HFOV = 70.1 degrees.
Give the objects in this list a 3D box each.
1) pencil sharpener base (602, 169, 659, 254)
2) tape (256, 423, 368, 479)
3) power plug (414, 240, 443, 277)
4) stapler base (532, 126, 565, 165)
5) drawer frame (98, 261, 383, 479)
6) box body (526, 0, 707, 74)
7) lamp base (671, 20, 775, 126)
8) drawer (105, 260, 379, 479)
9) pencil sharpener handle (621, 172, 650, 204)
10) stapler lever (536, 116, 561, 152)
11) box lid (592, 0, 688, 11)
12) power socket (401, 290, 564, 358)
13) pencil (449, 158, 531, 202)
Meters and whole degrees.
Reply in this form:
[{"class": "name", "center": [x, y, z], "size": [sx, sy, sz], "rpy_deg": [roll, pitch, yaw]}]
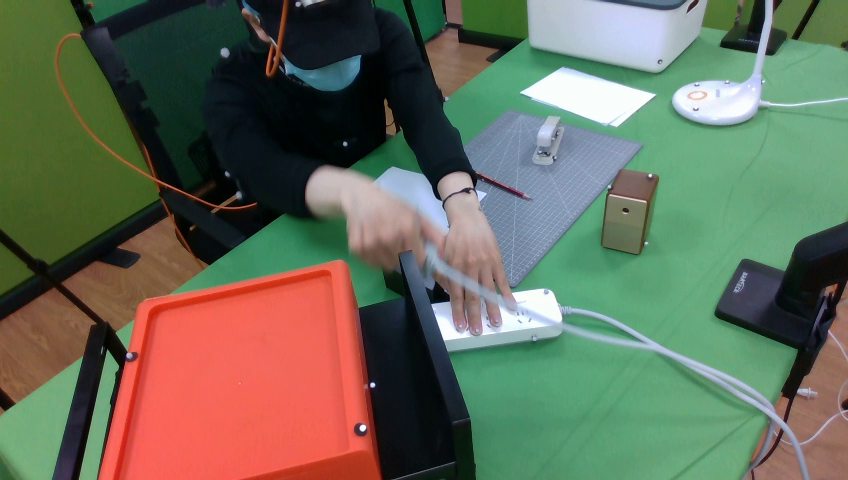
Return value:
[{"class": "pencil sharpener base", "center": [0.312, -0.044, 0.913], "size": [0.061, 0.107, 0.077], "rpy_deg": [14, 45, 24]}, {"class": "tape", "center": [-0.121, 0.262, 0.660], "size": [0.117, 0.053, 0.116], "rpy_deg": [-4, 40, 4]}, {"class": "power plug", "center": [0.005, 0.031, 0.708], "size": [0.035, 0.053, 0.072], "rpy_deg": [-8, 38, 7]}, {"class": "stapler base", "center": [0.238, -0.189, 1.155], "size": [0.041, 0.024, 0.130], "rpy_deg": [10, 42, 18]}, {"class": "drawer frame", "center": [-0.148, 0.129, 0.519], "size": [0.202, 0.083, 0.212], "rpy_deg": [-12, 41, -6]}, {"class": "box body", "center": [0.450, -0.540, 1.430], "size": [0.361, 0.161, 0.255], "rpy_deg": [24, 50, 31]}, {"class": "lamp base", "center": [0.582, -0.331, 1.153], "size": [0.179, 0.181, 0.160], "rpy_deg": [2, 42, 7]}, {"class": "drawer", "center": [-0.150, 0.127, 0.525], "size": [0.195, 0.073, 0.210], "rpy_deg": [-11, 41, -5]}, {"class": "pencil sharpener handle", "center": [0.328, -0.086, 0.940], "size": [0.036, 0.068, 0.030], "rpy_deg": [30, 49, 7]}, {"class": "stapler lever", "center": [0.235, -0.208, 1.141], "size": [0.026, 0.040, 0.118], "rpy_deg": [10, 43, 18]}, {"class": "box lid", "center": [0.441, -0.596, 1.383], "size": [0.368, 0.015, 0.264], "rpy_deg": [24, 49, 31]}, {"class": "power socket", "center": [0.080, 0.113, 0.821], "size": [0.227, 0.033, 0.072], "rpy_deg": [-7, 41, -1]}, {"class": "pencil", "center": [0.116, -0.108, 1.091], "size": [0.012, 0.012, 0.192], "rpy_deg": [-36, 50, -29]}]
